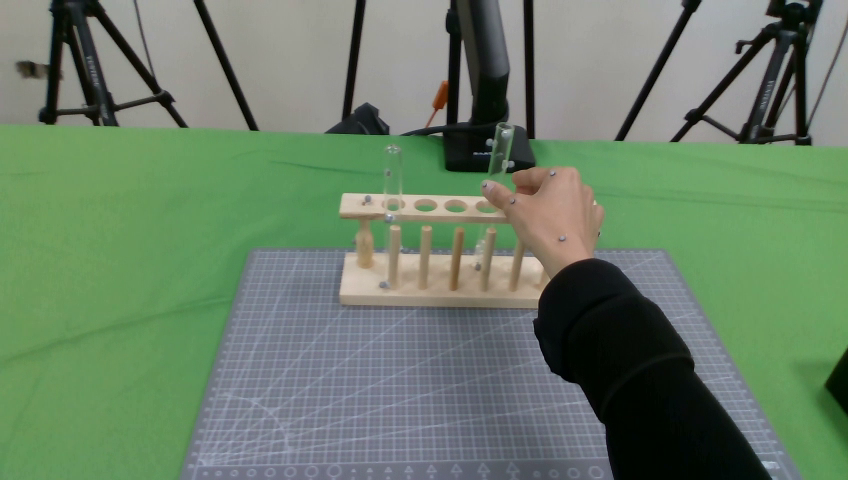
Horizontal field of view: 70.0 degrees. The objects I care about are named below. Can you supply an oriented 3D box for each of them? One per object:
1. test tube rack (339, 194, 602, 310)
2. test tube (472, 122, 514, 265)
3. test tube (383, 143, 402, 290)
[{"bbox_3d":[0.042,0.011,0.578,0.242,0.086,0.066,1,37,-2],"label":"test tube rack"},{"bbox_3d":[0.063,-0.039,0.563,0.017,0.151,0.017,5,35,-3],"label":"test tube"},{"bbox_3d":[-0.028,-0.016,0.535,0.017,0.152,0.017,2,36,-1],"label":"test tube"}]
